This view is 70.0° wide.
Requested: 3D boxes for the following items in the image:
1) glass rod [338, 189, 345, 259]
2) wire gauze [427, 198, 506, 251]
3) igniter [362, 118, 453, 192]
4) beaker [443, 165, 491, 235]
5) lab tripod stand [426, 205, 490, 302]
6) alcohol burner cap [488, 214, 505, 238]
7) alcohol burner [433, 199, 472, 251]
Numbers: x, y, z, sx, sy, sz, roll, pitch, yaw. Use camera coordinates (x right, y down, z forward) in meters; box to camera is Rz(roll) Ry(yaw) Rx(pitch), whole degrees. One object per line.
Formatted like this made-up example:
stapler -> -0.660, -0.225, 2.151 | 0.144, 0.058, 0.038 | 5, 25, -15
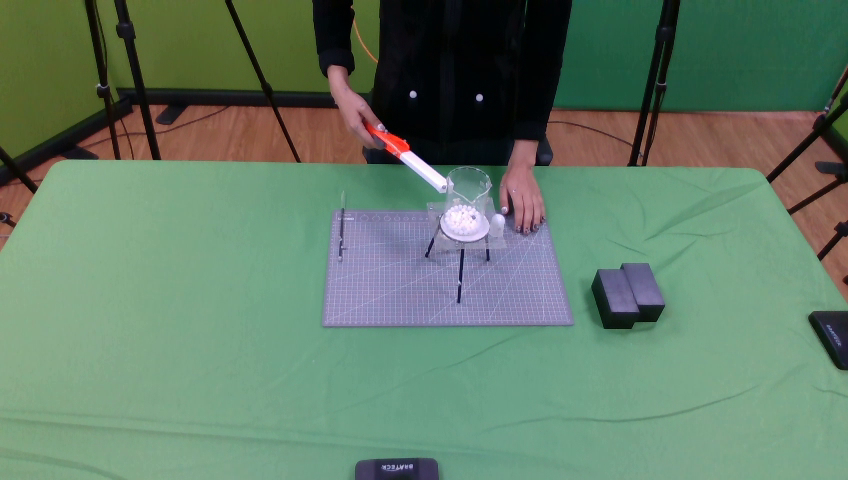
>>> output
glass rod -> -0.166, -0.036, 1.227 | 0.008, 0.008, 0.198 | -1, 46, -4
wire gauze -> 0.072, -0.028, 1.057 | 0.125, 0.011, 0.120 | -1, 49, -8
igniter -> -0.042, -0.176, 1.212 | 0.057, 0.025, 0.275 | -17, 46, -38
beaker -> 0.070, -0.062, 1.023 | 0.074, 0.101, 0.083 | -2, 48, -6
lab tripod stand -> 0.069, 0.017, 1.106 | 0.148, 0.132, 0.147 | 3, 47, -3
alcohol burner cap -> 0.148, -0.032, 1.222 | 0.034, 0.048, 0.033 | 2, 45, -2
alcohol burner -> 0.056, -0.036, 1.170 | 0.078, 0.119, 0.077 | 3, 48, -3
